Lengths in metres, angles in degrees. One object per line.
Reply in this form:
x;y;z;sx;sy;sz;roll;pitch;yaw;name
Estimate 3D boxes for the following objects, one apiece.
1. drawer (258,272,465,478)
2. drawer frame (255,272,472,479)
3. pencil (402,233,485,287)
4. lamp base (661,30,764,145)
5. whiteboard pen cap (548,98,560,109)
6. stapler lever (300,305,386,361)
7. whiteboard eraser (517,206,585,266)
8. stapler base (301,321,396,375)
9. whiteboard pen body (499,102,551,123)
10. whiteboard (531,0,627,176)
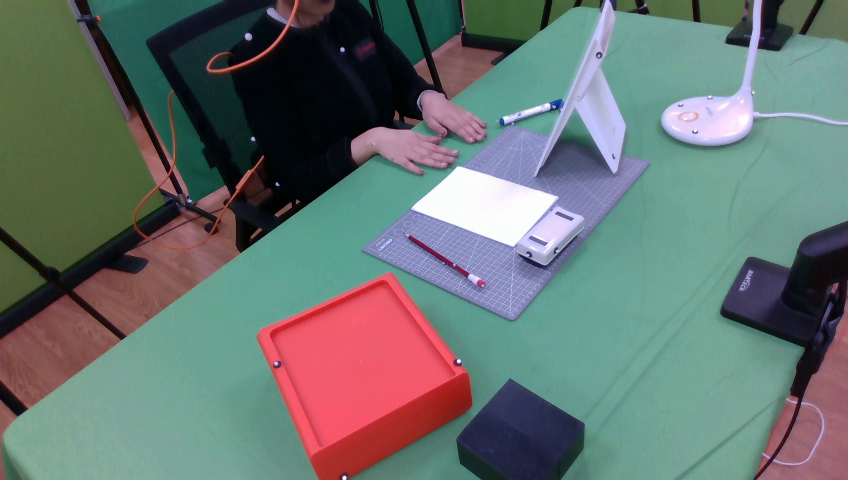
-0.082;0.160;0.764;0.195;0.073;0.210;-23;43;-17;drawer
-0.079;0.161;0.760;0.202;0.083;0.211;-24;43;-18;drawer frame
0.026;0.028;0.949;0.012;0.012;0.192;-34;44;-26;pencil
0.535;-0.287;1.096;0.179;0.181;0.159;-10;40;-4;lamp base
0.275;-0.287;1.269;0.033;0.018;0.018;-17;41;-14;whiteboard pen cap
-0.107;0.121;0.799;0.118;0.040;0.026;-19;38;-13;stapler lever
0.196;-0.005;0.931;0.055;0.042;0.113;25;51;35;whiteboard eraser
-0.103;0.138;0.814;0.131;0.024;0.041;-20;38;-12;stapler base
0.221;-0.268;1.257;0.141;0.017;0.017;-19;41;-13;whiteboard pen body
0.321;-0.259;1.050;0.143;0.306;0.217;22;46;6;whiteboard
